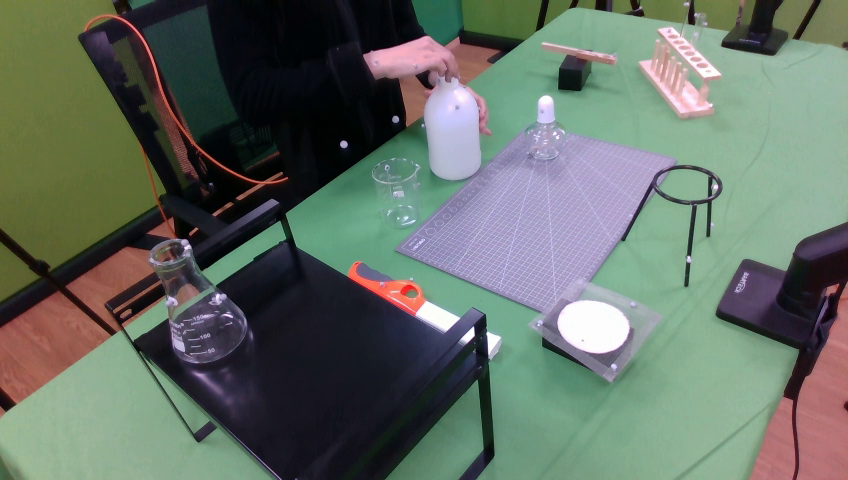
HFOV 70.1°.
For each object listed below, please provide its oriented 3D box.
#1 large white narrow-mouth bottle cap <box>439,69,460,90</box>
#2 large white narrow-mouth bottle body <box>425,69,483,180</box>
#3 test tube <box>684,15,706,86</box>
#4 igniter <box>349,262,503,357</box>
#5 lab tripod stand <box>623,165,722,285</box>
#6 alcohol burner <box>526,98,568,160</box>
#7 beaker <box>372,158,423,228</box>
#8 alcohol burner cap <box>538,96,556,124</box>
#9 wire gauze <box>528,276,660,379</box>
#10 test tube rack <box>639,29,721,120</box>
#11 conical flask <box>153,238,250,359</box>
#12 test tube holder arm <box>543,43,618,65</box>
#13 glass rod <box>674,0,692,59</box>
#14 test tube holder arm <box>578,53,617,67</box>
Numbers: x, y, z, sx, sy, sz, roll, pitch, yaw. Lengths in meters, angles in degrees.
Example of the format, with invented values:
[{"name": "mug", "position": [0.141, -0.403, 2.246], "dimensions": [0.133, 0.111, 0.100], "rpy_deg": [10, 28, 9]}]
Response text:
[{"name": "large white narrow-mouth bottle cap", "position": [0.044, -0.275, 1.034], "dimensions": [0.038, 0.024, 0.037], "rpy_deg": [-4, 41, 4]}, {"name": "large white narrow-mouth bottle body", "position": [0.053, -0.212, 1.091], "dimensions": [0.102, 0.195, 0.101], "rpy_deg": [-4, 41, 4]}, {"name": "test tube", "position": [0.541, -0.378, 1.215], "dimensions": [0.017, 0.151, 0.017], "rpy_deg": [-2, 44, 3]}, {"name": "igniter", "position": [-0.008, 0.093, 0.870], "dimensions": [0.274, 0.025, 0.057], "rpy_deg": [24, 60, 33]}, {"name": "lab tripod stand", "position": [0.365, -0.030, 0.874], "dimensions": [0.148, 0.132, 0.147], "rpy_deg": [-6, 41, 6]}, {"name": "alcohol burner", "position": [0.228, -0.210, 1.118], "dimensions": [0.078, 0.119, 0.077], "rpy_deg": [-5, 43, 5]}, {"name": "beaker", "position": [-0.039, -0.079, 1.022], "dimensions": [0.084, 0.101, 0.073], "rpy_deg": [-16, 41, -11]}, {"name": "alcohol burner cap", "position": [0.222, -0.237, 1.095], "dimensions": [0.034, 0.048, 0.033], "rpy_deg": [-7, 34, 5]}, {"name": "wire gauze", "position": [0.213, 0.103, 0.763], "dimensions": [0.124, 0.011, 0.122], "rpy_deg": [30, 52, 35]}, {"name": "test tube rack", "position": [0.527, -0.351, 1.262], "dimensions": [0.067, 0.085, 0.241], "rpy_deg": [-8, 40, 1]}, {"name": "conical flask", "position": [-0.225, 0.055, 0.597], "dimensions": [0.075, 0.122, 0.075], "rpy_deg": [-5, 41, 4]}, {"name": "test tube holder arm", "position": [0.344, -0.413, 1.340], "dimensions": [0.177, 0.015, 0.013], "rpy_deg": [25, 51, 31]}, {"name": "glass rod", "position": [0.537, -0.436, 1.257], "dimensions": [0.008, 0.200, 0.008], "rpy_deg": [0, 39, 1]}, {"name": "test tube holder arm", "position": [0.376, -0.393, 1.314], "dimensions": [0.087, 0.015, 0.010], "rpy_deg": [26, 51, 32]}]
